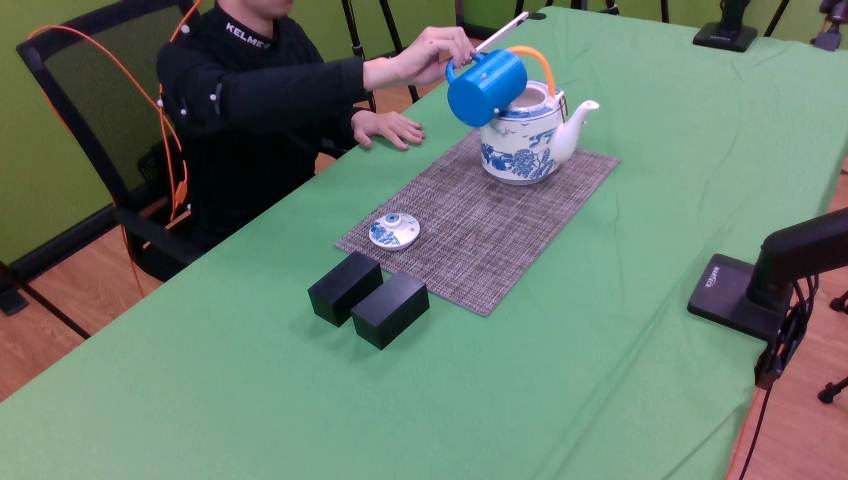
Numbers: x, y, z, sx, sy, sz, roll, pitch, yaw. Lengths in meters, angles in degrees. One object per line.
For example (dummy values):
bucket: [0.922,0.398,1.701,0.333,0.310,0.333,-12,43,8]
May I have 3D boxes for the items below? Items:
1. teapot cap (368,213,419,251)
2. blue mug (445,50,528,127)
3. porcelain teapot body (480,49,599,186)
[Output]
teapot cap: [-0.050,-0.019,0.975,0.085,0.044,0.085,-4,43,4]
blue mug: [0.088,-0.248,0.945,0.116,0.082,0.106,43,58,6]
porcelain teapot body: [0.193,-0.208,1.024,0.204,0.226,0.145,16,46,25]
